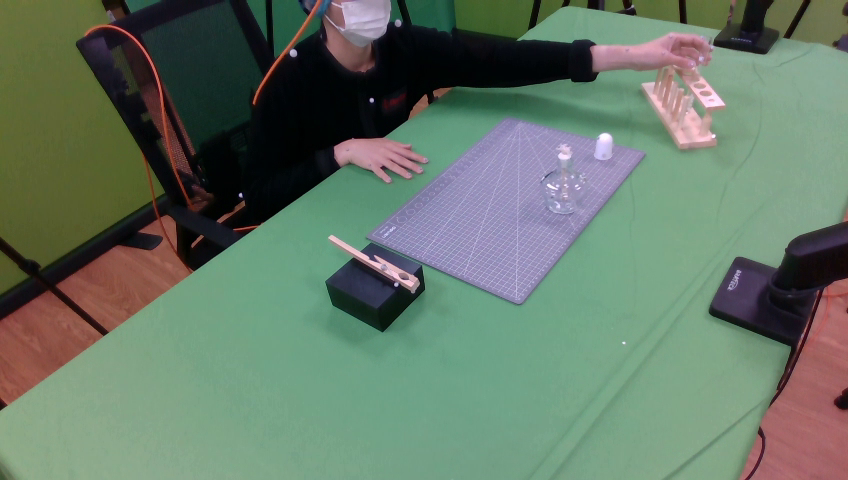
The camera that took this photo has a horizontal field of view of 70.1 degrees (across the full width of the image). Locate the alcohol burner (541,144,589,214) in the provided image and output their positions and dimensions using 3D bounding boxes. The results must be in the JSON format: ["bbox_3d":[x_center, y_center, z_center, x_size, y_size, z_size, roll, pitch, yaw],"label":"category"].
[{"bbox_3d":[0.229,-0.102,0.983,0.078,0.119,0.077,-6,41,5],"label":"alcohol burner"}]

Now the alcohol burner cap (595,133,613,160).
[{"bbox_3d":[0.330,-0.172,1.104,0.034,0.048,0.033,-5,41,5],"label":"alcohol burner cap"}]

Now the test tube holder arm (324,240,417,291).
[{"bbox_3d":[-0.081,0.034,0.874,0.177,0.015,0.013,22,46,31],"label":"test tube holder arm"}]

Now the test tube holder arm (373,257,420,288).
[{"bbox_3d":[-0.042,0.046,0.854,0.087,0.015,0.010,24,48,32],"label":"test tube holder arm"}]

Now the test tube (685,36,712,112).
[{"bbox_3d":[0.510,-0.307,1.129,0.017,0.151,0.017,-1,42,2],"label":"test tube"}]

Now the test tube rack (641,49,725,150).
[{"bbox_3d":[0.495,-0.279,1.175,0.067,0.085,0.241,-5,41,3],"label":"test tube rack"}]
